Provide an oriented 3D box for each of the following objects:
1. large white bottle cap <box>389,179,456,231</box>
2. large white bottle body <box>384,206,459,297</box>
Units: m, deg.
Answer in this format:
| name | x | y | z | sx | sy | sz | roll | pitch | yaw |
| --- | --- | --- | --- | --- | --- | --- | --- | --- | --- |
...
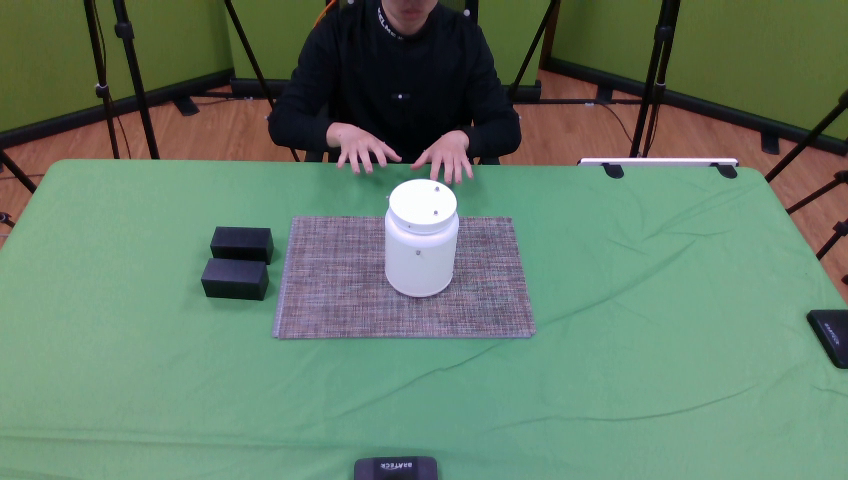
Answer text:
| name | x | y | z | sx | sy | sz | roll | pitch | yaw |
| --- | --- | --- | --- | --- | --- | --- | --- | --- | --- |
| large white bottle cap | -0.003 | -0.061 | 1.020 | 0.115 | 0.018 | 0.114 | 2 | 46 | -1 |
| large white bottle body | -0.006 | -0.002 | 1.081 | 0.131 | 0.185 | 0.130 | 2 | 46 | -2 |
